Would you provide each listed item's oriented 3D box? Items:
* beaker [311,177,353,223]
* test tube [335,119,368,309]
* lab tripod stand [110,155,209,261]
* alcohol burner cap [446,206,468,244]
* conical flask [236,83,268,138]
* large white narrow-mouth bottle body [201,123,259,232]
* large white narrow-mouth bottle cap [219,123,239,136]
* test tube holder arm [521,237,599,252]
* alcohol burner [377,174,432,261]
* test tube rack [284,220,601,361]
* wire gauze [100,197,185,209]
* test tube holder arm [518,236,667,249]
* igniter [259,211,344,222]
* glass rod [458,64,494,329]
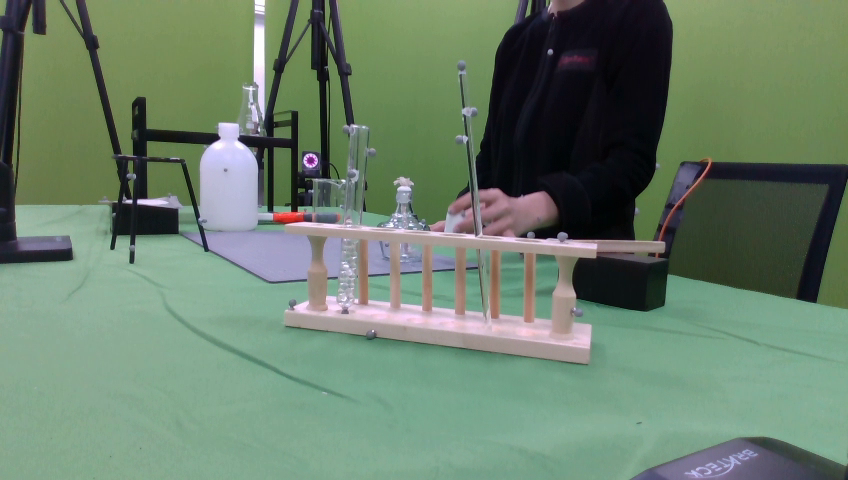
[{"bbox_3d":[-0.167,-0.064,1.106,0.074,0.100,0.083,-2,9,-27],"label":"beaker"},{"bbox_3d":[-0.057,-0.019,0.477,0.017,0.150,0.017,5,9,-1],"label":"test tube"},{"bbox_3d":[-0.361,-0.046,0.806,0.148,0.131,0.148,2,5,0],"label":"lab tripod stand"},{"bbox_3d":[0.043,-0.021,0.795,0.034,0.048,0.034,1,10,0],"label":"alcohol burner cap"},{"bbox_3d":[-0.400,-0.298,1.396,0.075,0.122,0.075,2,8,0],"label":"conical flask"},{"bbox_3d":[-0.358,-0.116,1.116,0.102,0.194,0.102,2,8,0],"label":"large white narrow-mouth bottle body"},{"bbox_3d":[-0.356,-0.201,1.104,0.038,0.024,0.037,2,8,0],"label":"large white narrow-mouth bottle cap"},{"bbox_3d":[0.144,0.004,0.635,0.088,0.015,0.010,0,13,-19],"label":"test tube holder arm"},{"bbox_3d":[-0.027,-0.031,0.838,0.078,0.119,0.078,0,6,0],"label":"alcohol burner"},{"bbox_3d":[0.013,0.032,0.482,0.242,0.085,0.067,4,7,16],"label":"test tube rack"},{"bbox_3d":[-0.469,-0.062,1.008,0.126,0.011,0.121,-2,8,-25],"label":"wire gauze"},{"bbox_3d":[0.186,0.003,0.655,0.179,0.015,0.013,0,13,-18],"label":"test tube holder arm"},{"bbox_3d":[-0.302,-0.047,1.249,0.278,0.025,0.057,-2,-2,-27],"label":"igniter"},{"bbox_3d":[0.039,-0.029,0.449,0.008,0.199,0.008,-7,9,1],"label":"glass rod"}]
